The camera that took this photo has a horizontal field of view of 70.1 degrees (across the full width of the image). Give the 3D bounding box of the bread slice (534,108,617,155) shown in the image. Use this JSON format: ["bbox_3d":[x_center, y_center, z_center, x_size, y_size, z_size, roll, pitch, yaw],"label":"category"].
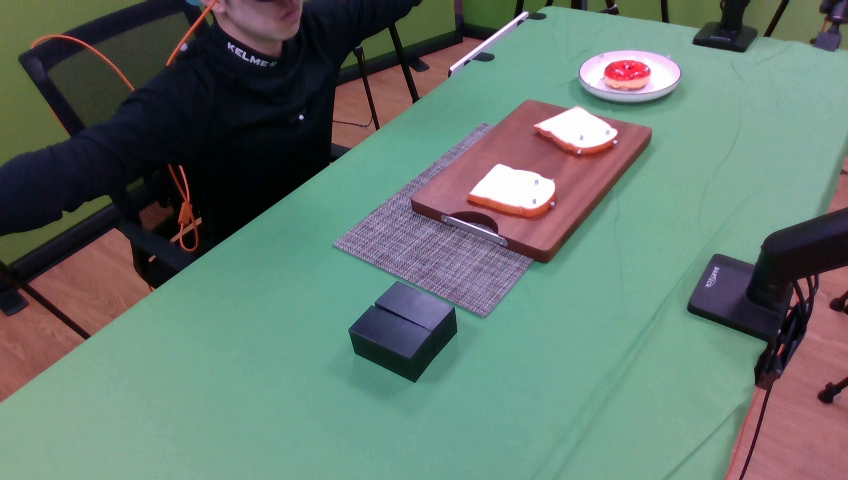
[{"bbox_3d":[0.289,-0.200,1.121,0.107,0.018,0.133,-27,43,-22],"label":"bread slice"}]

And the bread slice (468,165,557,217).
[{"bbox_3d":[0.154,-0.082,1.003,0.130,0.019,0.105,18,48,29],"label":"bread slice"}]

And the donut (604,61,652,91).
[{"bbox_3d":[0.432,-0.349,1.285,0.099,0.048,0.098,-4,38,4],"label":"donut"}]

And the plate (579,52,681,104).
[{"bbox_3d":[0.437,-0.343,1.294,0.209,0.038,0.208,-4,40,4],"label":"plate"}]
